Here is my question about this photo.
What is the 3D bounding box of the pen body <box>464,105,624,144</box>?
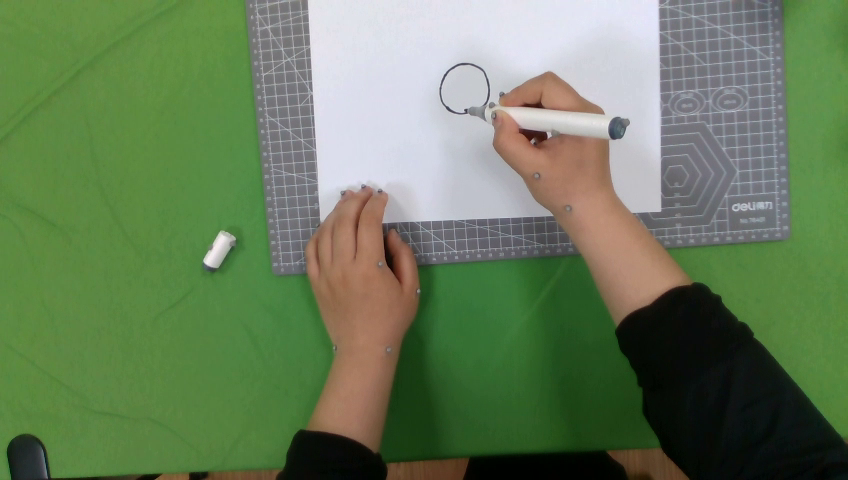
[{"bbox_3d":[0.079,-0.086,0.440,0.143,0.017,0.017,21,97,46],"label":"pen body"}]

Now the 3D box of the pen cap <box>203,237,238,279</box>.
[{"bbox_3d":[-0.187,0.017,0.553,0.017,0.017,0.038,34,95,3],"label":"pen cap"}]
